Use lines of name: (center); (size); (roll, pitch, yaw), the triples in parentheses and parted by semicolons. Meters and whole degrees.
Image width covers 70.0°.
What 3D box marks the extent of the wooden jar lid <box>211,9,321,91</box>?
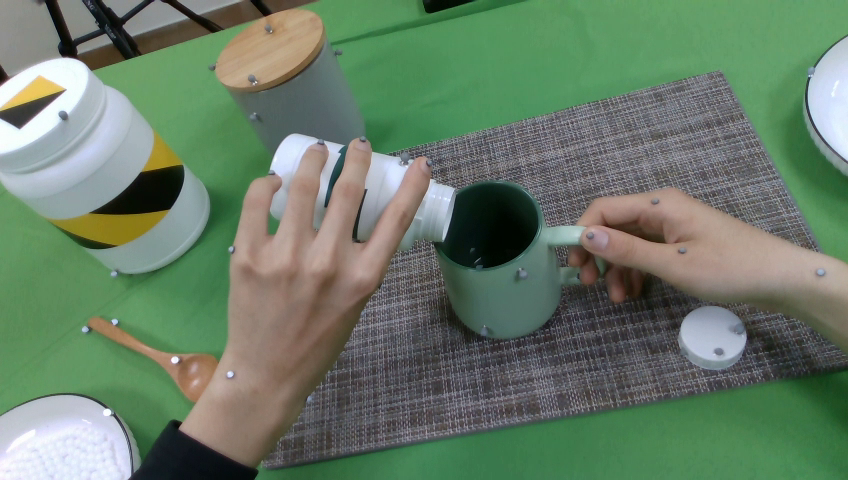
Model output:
wooden jar lid: (-0.142, -0.171, 0.557); (0.108, 0.021, 0.107); (-10, 54, 15)

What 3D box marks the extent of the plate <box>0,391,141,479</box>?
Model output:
plate: (-0.315, 0.225, 0.480); (0.209, 0.038, 0.207); (-8, 55, 12)

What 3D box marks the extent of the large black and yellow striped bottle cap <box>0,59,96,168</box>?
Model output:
large black and yellow striped bottle cap: (-0.335, -0.110, 0.515); (0.115, 0.019, 0.114); (-8, 54, 11)

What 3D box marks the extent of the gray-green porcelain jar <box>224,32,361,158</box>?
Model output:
gray-green porcelain jar: (-0.126, -0.134, 0.605); (0.105, 0.128, 0.105); (-9, 51, 11)

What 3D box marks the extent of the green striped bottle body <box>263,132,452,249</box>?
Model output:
green striped bottle body: (-0.043, -0.032, 0.417); (0.119, 0.063, 0.063); (14, 61, 6)

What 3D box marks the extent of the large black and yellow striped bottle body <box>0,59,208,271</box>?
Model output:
large black and yellow striped bottle body: (-0.313, -0.066, 0.583); (0.130, 0.186, 0.129); (-8, 56, 12)

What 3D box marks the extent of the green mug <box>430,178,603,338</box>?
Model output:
green mug: (0.070, 0.014, 0.457); (0.125, 0.106, 0.091); (-5, 55, 14)

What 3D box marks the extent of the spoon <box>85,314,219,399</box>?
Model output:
spoon: (-0.255, 0.098, 0.556); (0.192, 0.022, 0.041); (17, 83, 25)

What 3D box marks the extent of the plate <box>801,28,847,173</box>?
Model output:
plate: (0.412, -0.104, 0.477); (0.207, 0.039, 0.205); (-8, 55, 12)

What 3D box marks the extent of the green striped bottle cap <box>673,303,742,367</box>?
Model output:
green striped bottle cap: (0.204, 0.068, 0.437); (0.044, 0.020, 0.044); (-8, 50, 10)
